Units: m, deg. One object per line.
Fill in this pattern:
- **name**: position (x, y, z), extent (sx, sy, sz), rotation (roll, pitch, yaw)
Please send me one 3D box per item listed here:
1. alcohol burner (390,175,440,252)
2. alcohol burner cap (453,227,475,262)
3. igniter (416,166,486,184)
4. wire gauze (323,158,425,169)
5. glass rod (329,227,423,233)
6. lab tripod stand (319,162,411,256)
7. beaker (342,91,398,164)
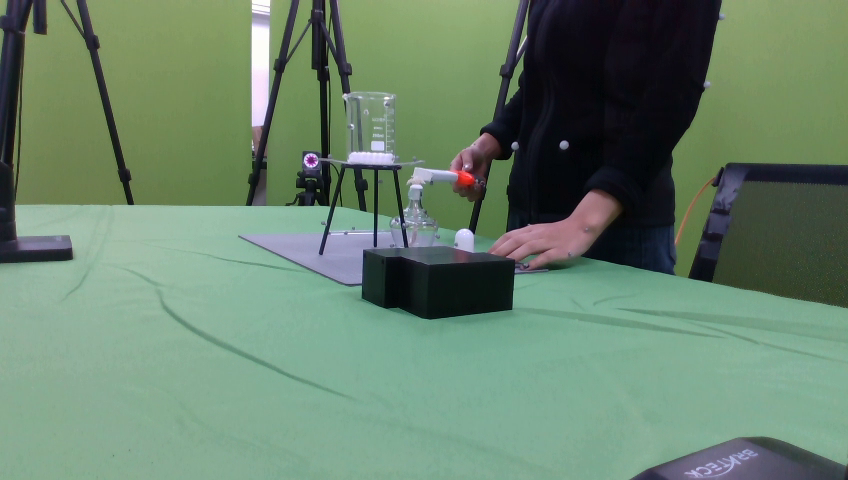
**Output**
- **alcohol burner**: position (-0.014, -0.041, 0.932), extent (0.078, 0.119, 0.078), rotation (1, 9, 0)
- **alcohol burner cap**: position (0.058, 0.006, 0.872), extent (0.034, 0.048, 0.034), rotation (3, 7, 0)
- **igniter**: position (0.054, -0.114, 1.072), extent (0.057, 0.025, 0.277), rotation (16, 10, 21)
- **wire gauze**: position (-0.080, -0.112, 0.869), extent (0.122, 0.011, 0.124), rotation (-6, 12, -35)
- **glass rod**: position (-0.087, -0.019, 1.148), extent (0.201, 0.008, 0.008), rotation (-3, 8, -32)
- **lab tripod stand**: position (-0.081, -0.047, 0.879), extent (0.148, 0.131, 0.148), rotation (2, 9, 0)
- **beaker**: position (-0.079, -0.160, 0.867), extent (0.084, 0.100, 0.073), rotation (-5, 10, -35)
